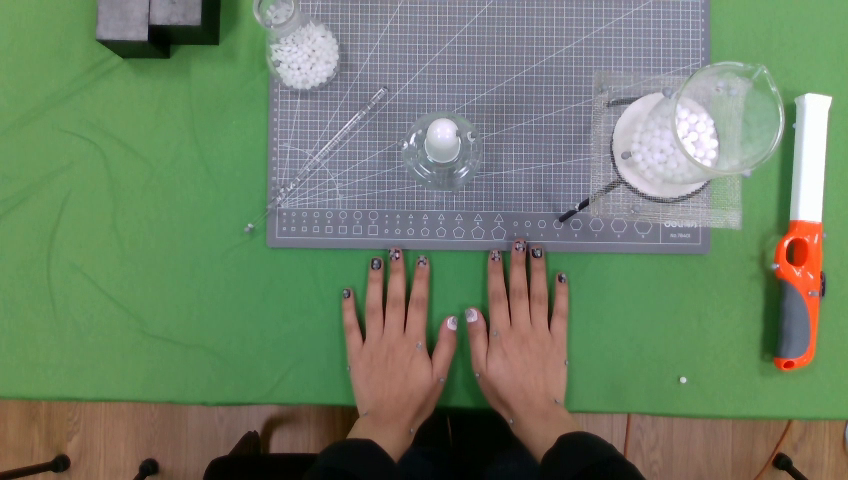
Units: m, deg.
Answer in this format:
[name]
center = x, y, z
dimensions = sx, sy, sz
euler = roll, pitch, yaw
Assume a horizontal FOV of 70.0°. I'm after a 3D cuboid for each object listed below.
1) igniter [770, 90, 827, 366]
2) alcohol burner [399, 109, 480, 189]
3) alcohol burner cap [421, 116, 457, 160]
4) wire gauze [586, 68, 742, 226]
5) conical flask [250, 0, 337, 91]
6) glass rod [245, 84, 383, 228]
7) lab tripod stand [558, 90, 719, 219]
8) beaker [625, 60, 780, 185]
[igniter]
center = 0.377, -0.011, 0.609
dimensions = 0.057, 0.025, 0.276
euler = 6, 89, -11
[alcohol burner]
center = 0.014, -0.088, 0.563
dimensions = 0.078, 0.119, 0.078
euler = 0, 88, 2
[alcohol burner cap]
center = 0.014, -0.091, 0.528
dimensions = 0.034, 0.048, 0.033
euler = 0, 82, 0
[wire gauze]
center = 0.193, -0.075, 0.488
dimensions = 0.125, 0.011, 0.121
euler = 3, 91, -1
[conical flask]
center = -0.126, -0.190, 0.560
dimensions = 0.075, 0.122, 0.075
euler = 0, 88, 0
[glass rod]
center = -0.112, -0.086, 0.614
dimensions = 0.008, 0.008, 0.199
euler = 43, 89, 1
[lab tripod stand]
center = 0.192, -0.071, 0.554
dimensions = 0.148, 0.131, 0.148
euler = 0, 90, 0
[beaker]
center = 0.196, -0.081, 0.440
dimensions = 0.074, 0.100, 0.084
euler = 37, 89, 0
